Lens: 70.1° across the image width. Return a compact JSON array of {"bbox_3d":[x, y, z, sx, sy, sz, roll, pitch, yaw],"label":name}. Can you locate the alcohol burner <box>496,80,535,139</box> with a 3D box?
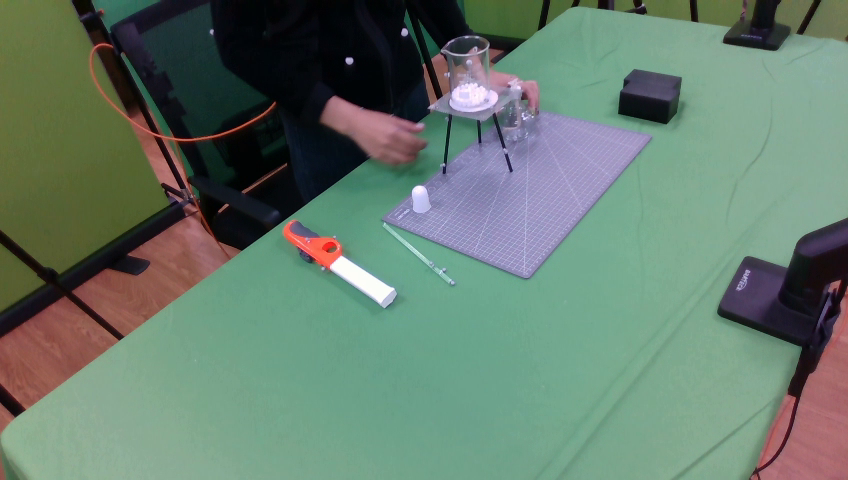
[{"bbox_3d":[0.178,-0.257,1.175,0.078,0.119,0.077,-4,41,4],"label":"alcohol burner"}]

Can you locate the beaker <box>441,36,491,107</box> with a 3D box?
[{"bbox_3d":[0.074,-0.287,1.036,0.084,0.101,0.073,-1,41,8],"label":"beaker"}]

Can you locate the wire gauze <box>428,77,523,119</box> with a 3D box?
[{"bbox_3d":[0.090,-0.248,1.063,0.120,0.011,0.125,24,48,30],"label":"wire gauze"}]

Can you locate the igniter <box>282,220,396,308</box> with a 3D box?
[{"bbox_3d":[-0.146,0.032,0.966,0.274,0.025,0.057,30,64,37],"label":"igniter"}]

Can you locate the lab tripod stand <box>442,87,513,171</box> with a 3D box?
[{"bbox_3d":[0.097,-0.201,1.108,0.148,0.132,0.147,-4,40,4],"label":"lab tripod stand"}]

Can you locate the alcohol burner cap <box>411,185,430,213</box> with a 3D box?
[{"bbox_3d":[-0.008,-0.074,1.049,0.034,0.048,0.033,-5,38,4],"label":"alcohol burner cap"}]

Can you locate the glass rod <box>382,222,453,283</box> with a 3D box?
[{"bbox_3d":[-0.014,0.016,0.976,0.008,0.008,0.198,-30,44,-22],"label":"glass rod"}]
